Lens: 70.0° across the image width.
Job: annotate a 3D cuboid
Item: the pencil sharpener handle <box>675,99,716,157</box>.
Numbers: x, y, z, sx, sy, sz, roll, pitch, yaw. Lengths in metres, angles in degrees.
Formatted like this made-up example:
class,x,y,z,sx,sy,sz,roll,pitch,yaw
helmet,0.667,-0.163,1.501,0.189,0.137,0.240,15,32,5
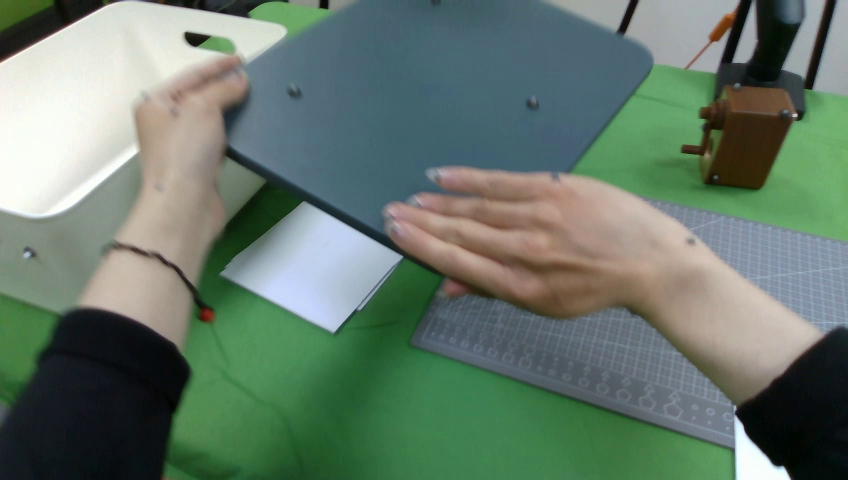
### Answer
class,x,y,z,sx,sy,sz,roll,pitch,yaw
pencil sharpener handle,0.317,-0.131,0.710,0.030,0.068,0.036,6,22,9

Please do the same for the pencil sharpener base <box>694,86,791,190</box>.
class,x,y,z,sx,sy,sz,roll,pitch,yaw
pencil sharpener base,0.369,-0.120,0.716,0.076,0.108,0.061,6,44,9

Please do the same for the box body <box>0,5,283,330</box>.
class,x,y,z,sx,sy,sz,roll,pitch,yaw
box body,-0.335,-0.099,0.663,0.253,0.162,0.362,14,45,15

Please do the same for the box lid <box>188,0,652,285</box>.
class,x,y,z,sx,sy,sz,roll,pitch,yaw
box lid,0.020,-0.129,0.516,0.262,0.015,0.370,30,50,17

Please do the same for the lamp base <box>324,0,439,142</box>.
class,x,y,z,sx,sy,sz,roll,pitch,yaw
lamp base,-0.063,-0.251,0.807,0.161,0.182,0.177,-7,41,-6
